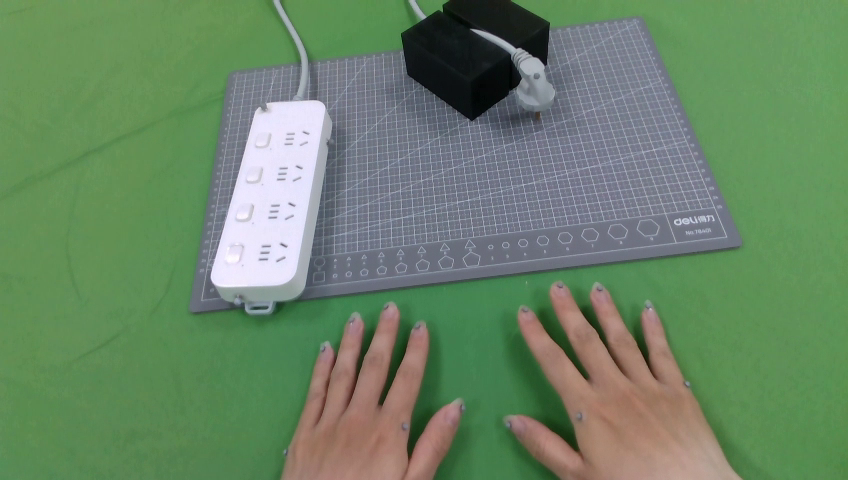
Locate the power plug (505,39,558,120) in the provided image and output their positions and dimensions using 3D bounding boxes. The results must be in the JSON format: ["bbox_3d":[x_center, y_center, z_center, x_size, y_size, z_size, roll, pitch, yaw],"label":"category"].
[{"bbox_3d":[0.101,-0.150,0.568,0.035,0.053,0.072,-11,58,-5],"label":"power plug"}]

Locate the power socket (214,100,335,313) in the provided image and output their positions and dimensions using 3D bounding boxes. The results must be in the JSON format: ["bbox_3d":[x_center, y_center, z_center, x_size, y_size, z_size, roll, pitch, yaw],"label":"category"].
[{"bbox_3d":[-0.128,-0.042,0.540,0.072,0.033,0.224,0,56,5],"label":"power socket"}]
